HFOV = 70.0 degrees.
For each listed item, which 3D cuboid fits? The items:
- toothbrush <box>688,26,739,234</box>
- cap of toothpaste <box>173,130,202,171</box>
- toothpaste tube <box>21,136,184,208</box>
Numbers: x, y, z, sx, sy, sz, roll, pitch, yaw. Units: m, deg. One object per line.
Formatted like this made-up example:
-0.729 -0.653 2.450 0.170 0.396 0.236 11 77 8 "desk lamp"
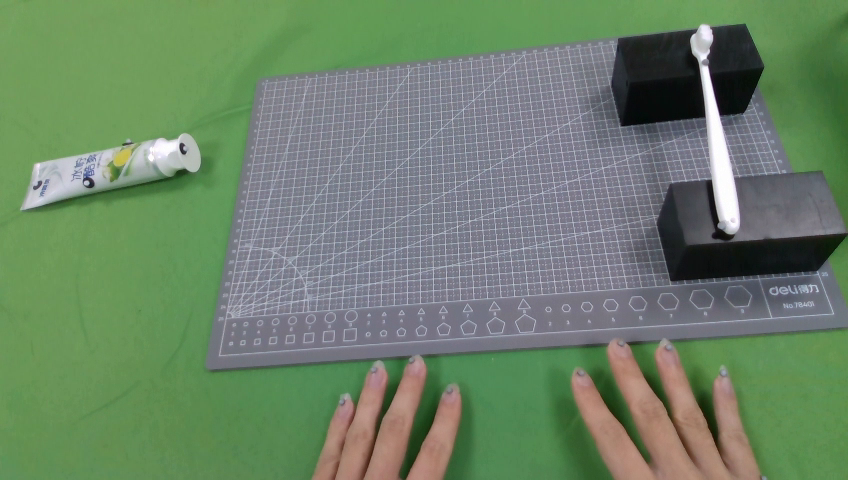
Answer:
0.205 -0.084 0.427 0.014 0.017 0.180 9 61 -4 "toothbrush"
-0.211 -0.079 0.538 0.011 0.038 0.037 -10 58 8 "cap of toothpaste"
-0.288 -0.068 0.550 0.165 0.035 0.054 -10 55 7 "toothpaste tube"
